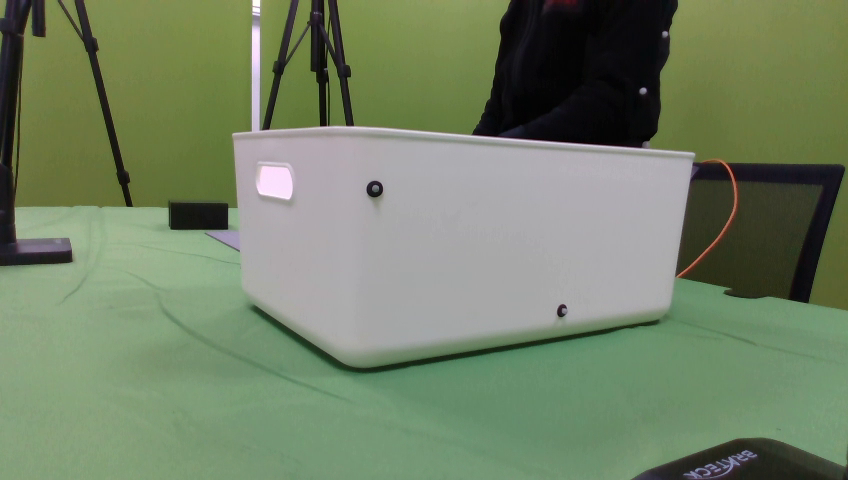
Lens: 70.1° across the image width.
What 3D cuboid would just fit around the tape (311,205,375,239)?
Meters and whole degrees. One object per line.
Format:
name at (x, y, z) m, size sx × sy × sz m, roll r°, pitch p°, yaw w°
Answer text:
tape at (-0.145, -0.034, 1.097) m, size 0.117 × 0.052 × 0.117 m, roll 3°, pitch 8°, yaw 0°

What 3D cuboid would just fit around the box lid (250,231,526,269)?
box lid at (-0.057, 0.011, 0.934) m, size 0.373 × 0.015 × 0.262 m, roll -2°, pitch 8°, yaw -32°

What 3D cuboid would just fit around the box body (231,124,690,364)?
box body at (0.031, -0.013, 0.563) m, size 0.366 × 0.160 × 0.253 m, roll -3°, pitch 8°, yaw -33°
